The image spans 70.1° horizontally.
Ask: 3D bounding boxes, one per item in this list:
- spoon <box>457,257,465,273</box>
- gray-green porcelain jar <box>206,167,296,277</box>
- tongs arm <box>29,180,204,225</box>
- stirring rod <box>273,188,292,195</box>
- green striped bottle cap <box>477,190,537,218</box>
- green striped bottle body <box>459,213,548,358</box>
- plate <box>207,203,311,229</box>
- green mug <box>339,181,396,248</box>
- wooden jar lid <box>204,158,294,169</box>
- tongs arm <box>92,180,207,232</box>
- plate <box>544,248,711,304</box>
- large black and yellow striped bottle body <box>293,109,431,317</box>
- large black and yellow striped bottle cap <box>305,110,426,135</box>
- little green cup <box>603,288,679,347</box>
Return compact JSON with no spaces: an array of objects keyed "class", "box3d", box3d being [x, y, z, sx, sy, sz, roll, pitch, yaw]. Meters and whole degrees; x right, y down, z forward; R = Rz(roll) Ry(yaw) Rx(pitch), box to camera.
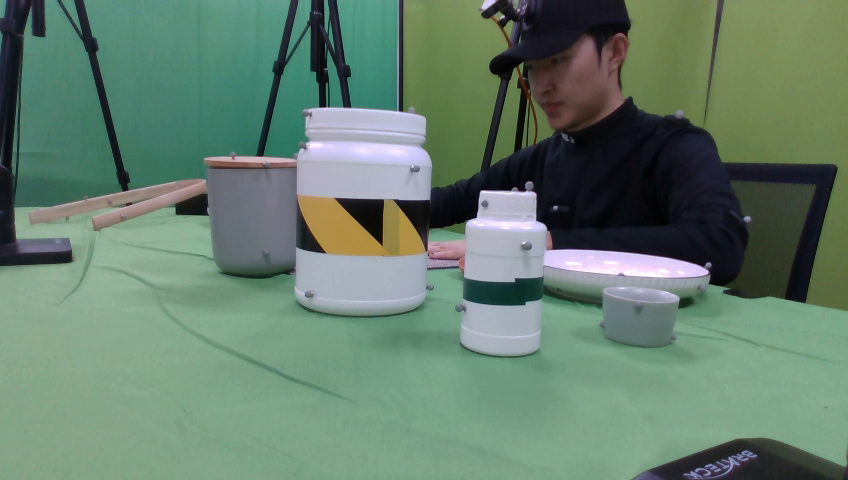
[{"class":"spoon","box3d":[0.059,0.044,0.696,0.041,0.021,0.193,21,7,0]},{"class":"gray-green porcelain jar","box3d":[-0.201,-0.024,0.724,0.106,0.126,0.106,-1,9,1]},{"class":"tongs arm","box3d":[-0.609,-0.083,1.245,0.050,0.026,0.386,5,16,23]},{"class":"stirring rod","box3d":[-0.353,-0.122,1.519,0.006,0.014,0.176,2,6,1]},{"class":"green striped bottle cap","box3d":[0.062,-0.027,0.453,0.044,0.020,0.044,2,5,0]},{"class":"green striped bottle body","box3d":[0.061,0.024,0.460,0.063,0.119,0.063,2,7,0]},{"class":"plate","box3d":[-0.342,-0.050,1.259,0.208,0.039,0.207,3,7,0]},{"class":"green mug","box3d":[-0.097,-0.044,0.995,0.093,0.105,0.125,-1,8,-21]},{"class":"wooden jar lid","box3d":[-0.202,-0.086,0.714,0.108,0.020,0.108,3,10,0]},{"class":"tongs arm","box3d":[-0.534,-0.076,1.221,0.028,0.028,0.388,-2,15,12]},{"class":"plate","box3d":[0.219,0.042,0.706,0.209,0.038,0.209,2,7,0]},{"class":"large black and yellow striped bottle body","box3d":[-0.060,-0.028,0.584,0.131,0.184,0.130,3,7,0]},{"class":"large black and yellow striped bottle cap","box3d":[-0.055,-0.110,0.574,0.115,0.019,0.115,1,7,0]},{"class":"little green cup","box3d":[0.180,0.064,0.505,0.061,0.038,0.061,2,6,0]}]
